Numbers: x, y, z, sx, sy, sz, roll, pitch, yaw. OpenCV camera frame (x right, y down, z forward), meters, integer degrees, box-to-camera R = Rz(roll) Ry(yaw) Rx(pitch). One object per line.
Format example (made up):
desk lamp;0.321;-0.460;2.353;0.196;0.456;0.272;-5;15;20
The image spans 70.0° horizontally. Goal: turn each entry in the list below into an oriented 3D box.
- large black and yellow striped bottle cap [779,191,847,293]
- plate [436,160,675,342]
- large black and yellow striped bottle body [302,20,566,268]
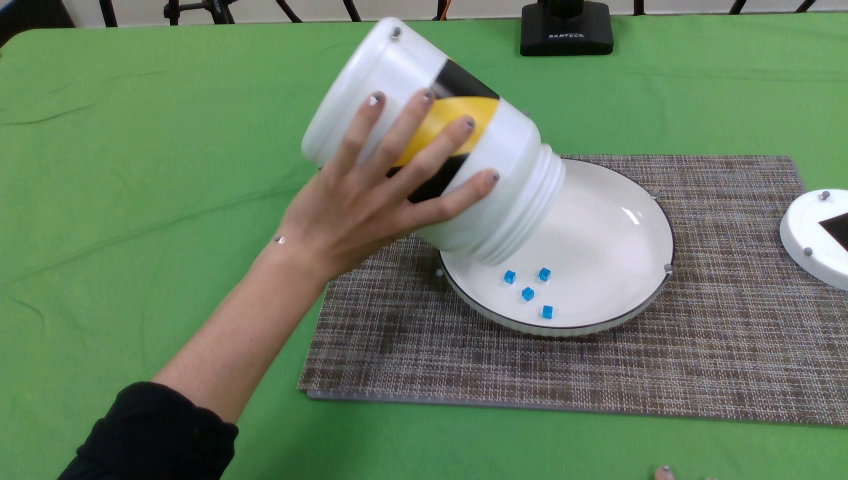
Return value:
large black and yellow striped bottle cap;0.381;0.000;0.540;0.115;0.019;0.114;-1;49;1
plate;0.115;0.008;0.548;0.207;0.039;0.205;-3;47;4
large black and yellow striped bottle body;0.011;-0.071;0.494;0.185;0.131;0.130;35;52;-10
